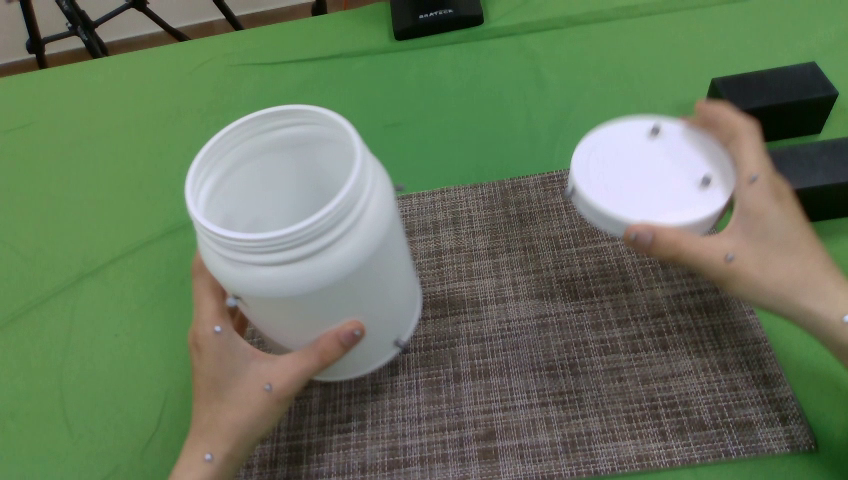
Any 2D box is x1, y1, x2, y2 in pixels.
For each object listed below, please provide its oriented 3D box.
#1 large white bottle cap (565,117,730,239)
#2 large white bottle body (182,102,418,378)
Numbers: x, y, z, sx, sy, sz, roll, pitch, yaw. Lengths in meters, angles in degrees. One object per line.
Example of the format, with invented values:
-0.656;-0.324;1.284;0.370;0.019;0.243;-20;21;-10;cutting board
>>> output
0.162;-0.049;0.446;0.115;0.018;0.113;-3;49;4;large white bottle cap
-0.080;0.006;0.435;0.130;0.186;0.129;-4;55;6;large white bottle body
